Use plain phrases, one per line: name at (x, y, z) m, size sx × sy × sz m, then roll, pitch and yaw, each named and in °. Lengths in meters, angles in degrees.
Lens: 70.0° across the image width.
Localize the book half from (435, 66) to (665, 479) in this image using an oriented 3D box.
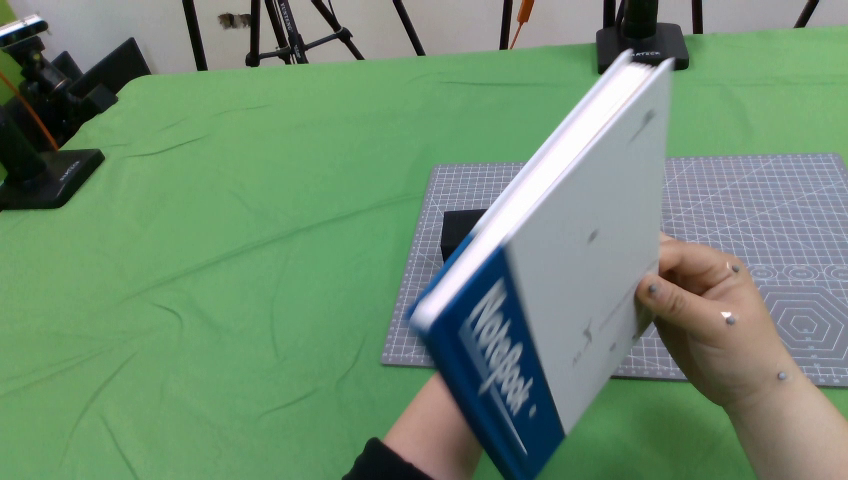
book half at (0.079, 0.039, 0.307) m, size 0.007 × 0.212 × 0.143 m, roll 31°, pitch 69°, yaw 35°

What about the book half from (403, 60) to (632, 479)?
book half at (0.068, 0.038, 0.314) m, size 0.016 × 0.212 × 0.148 m, roll 27°, pitch 66°, yaw 33°
